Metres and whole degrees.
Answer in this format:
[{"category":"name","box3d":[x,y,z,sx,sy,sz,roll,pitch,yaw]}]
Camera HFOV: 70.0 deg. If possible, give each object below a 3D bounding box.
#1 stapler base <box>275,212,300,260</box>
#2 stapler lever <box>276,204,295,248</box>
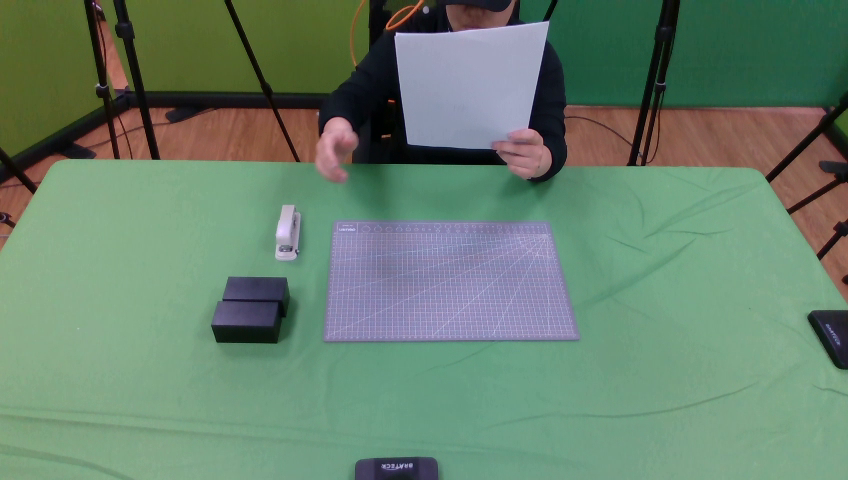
[{"category":"stapler base","box3d":[-0.268,-0.016,1.190,0.041,0.024,0.129,0,44,-7]},{"category":"stapler lever","box3d":[-0.268,-0.034,1.174,0.027,0.040,0.117,0,45,-7]}]
